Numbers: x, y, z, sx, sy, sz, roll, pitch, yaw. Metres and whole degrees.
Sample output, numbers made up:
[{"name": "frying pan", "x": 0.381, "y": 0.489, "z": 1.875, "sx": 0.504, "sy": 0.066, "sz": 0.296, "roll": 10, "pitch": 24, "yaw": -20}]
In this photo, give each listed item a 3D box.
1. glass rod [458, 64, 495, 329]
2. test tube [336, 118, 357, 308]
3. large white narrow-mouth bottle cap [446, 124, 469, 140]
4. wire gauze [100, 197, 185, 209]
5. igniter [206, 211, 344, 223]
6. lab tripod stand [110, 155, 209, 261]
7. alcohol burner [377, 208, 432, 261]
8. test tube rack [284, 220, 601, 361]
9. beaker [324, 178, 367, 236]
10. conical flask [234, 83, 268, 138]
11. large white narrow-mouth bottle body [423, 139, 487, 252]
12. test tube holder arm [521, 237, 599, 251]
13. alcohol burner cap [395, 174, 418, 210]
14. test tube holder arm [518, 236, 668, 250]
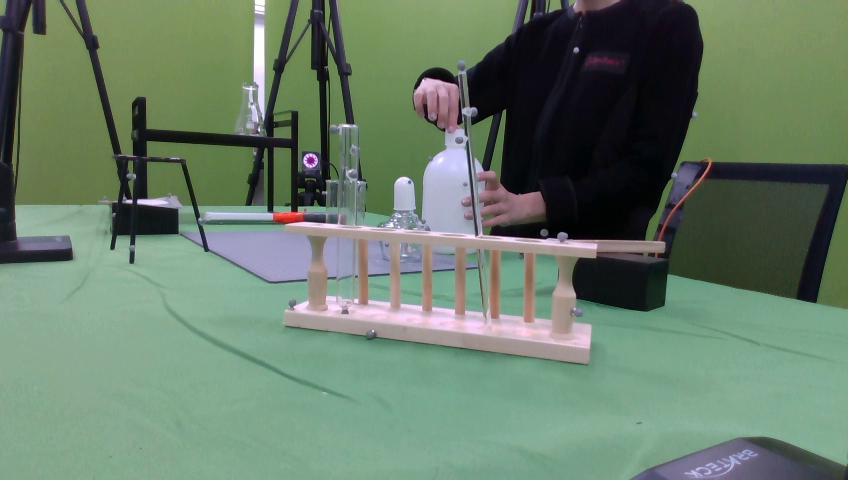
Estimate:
[{"name": "glass rod", "x": 0.040, "y": -0.029, "z": 0.450, "sx": 0.008, "sy": 0.199, "sz": 0.008, "roll": -7, "pitch": 9, "yaw": 1}, {"name": "test tube", "x": -0.061, "y": -0.019, "z": 0.476, "sx": 0.017, "sy": 0.150, "sz": 0.017, "roll": 2, "pitch": 11, "yaw": 0}, {"name": "large white narrow-mouth bottle cap", "x": 0.052, "y": -0.169, "z": 0.949, "sx": 0.038, "sy": 0.024, "sz": 0.037, "roll": 2, "pitch": 8, "yaw": 0}, {"name": "wire gauze", "x": -0.469, "y": -0.062, "z": 1.008, "sx": 0.126, "sy": 0.011, "sz": 0.121, "roll": -2, "pitch": 8, "yaw": -25}, {"name": "igniter", "x": -0.302, "y": -0.048, "z": 1.249, "sx": 0.278, "sy": 0.025, "sz": 0.057, "roll": -2, "pitch": -2, "yaw": -27}, {"name": "lab tripod stand", "x": -0.361, "y": -0.046, "z": 0.806, "sx": 0.148, "sy": 0.131, "sz": 0.148, "roll": 2, "pitch": 5, "yaw": 0}, {"name": "alcohol burner", "x": -0.027, "y": -0.031, "z": 0.838, "sx": 0.078, "sy": 0.119, "sz": 0.078, "roll": 0, "pitch": 6, "yaw": 0}, {"name": "test tube rack", "x": 0.013, "y": 0.032, "z": 0.482, "sx": 0.242, "sy": 0.085, "sz": 0.067, "roll": 4, "pitch": 7, "yaw": 16}, {"name": "beaker", "x": -0.139, "y": -0.060, "z": 1.083, "sx": 0.074, "sy": 0.100, "sz": 0.083, "roll": -3, "pitch": 10, "yaw": -31}, {"name": "conical flask", "x": -0.400, "y": -0.298, "z": 1.396, "sx": 0.075, "sy": 0.122, "sz": 0.075, "roll": 2, "pitch": 8, "yaw": 0}, {"name": "large white narrow-mouth bottle body", "x": 0.050, "y": -0.082, "z": 0.962, "sx": 0.102, "sy": 0.194, "sz": 0.102, "roll": 2, "pitch": 8, "yaw": 0}, {"name": "test tube holder arm", "x": 0.144, "y": 0.004, "z": 0.635, "sx": 0.088, "sy": 0.015, "sz": 0.010, "roll": 0, "pitch": 13, "yaw": -19}, {"name": "alcohol burner cap", "x": -0.025, "y": -0.067, "z": 0.833, "sx": 0.034, "sy": 0.048, "sz": 0.034, "roll": -1, "pitch": 12, "yaw": 1}, {"name": "test tube holder arm", "x": 0.185, "y": 0.003, "z": 0.654, "sx": 0.179, "sy": 0.015, "sz": 0.013, "roll": 0, "pitch": 13, "yaw": -18}]
